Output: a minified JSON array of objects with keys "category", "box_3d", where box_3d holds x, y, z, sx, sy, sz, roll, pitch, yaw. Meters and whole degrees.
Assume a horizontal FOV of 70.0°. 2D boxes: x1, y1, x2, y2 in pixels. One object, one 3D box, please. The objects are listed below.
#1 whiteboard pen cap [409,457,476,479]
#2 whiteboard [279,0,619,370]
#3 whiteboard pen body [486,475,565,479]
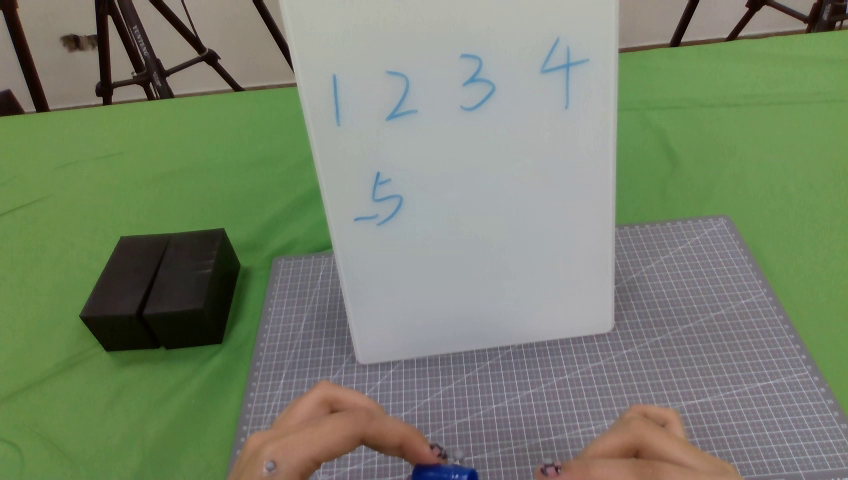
[{"category":"whiteboard pen cap","box_3d":[0.010,0.121,0.309,0.033,0.018,0.018,-5,41,29]},{"category":"whiteboard","box_3d":[0.029,-0.072,0.497,0.217,0.307,0.142,-7,25,1]},{"category":"whiteboard pen body","box_3d":[0.092,0.119,0.269,0.140,0.017,0.017,0,43,25]}]
